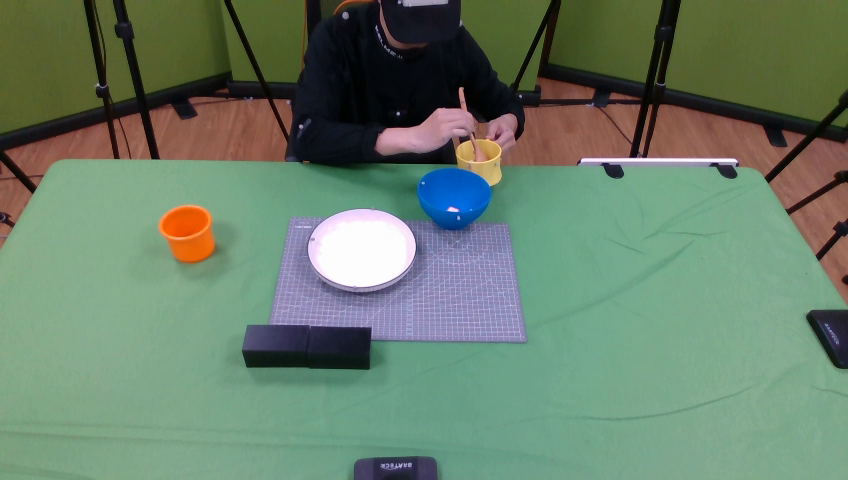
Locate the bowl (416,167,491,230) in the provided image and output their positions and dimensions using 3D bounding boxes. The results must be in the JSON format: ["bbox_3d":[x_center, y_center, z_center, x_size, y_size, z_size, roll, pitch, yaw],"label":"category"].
[{"bbox_3d":[0.057,-0.074,1.231,0.151,0.077,0.150,2,42,-2],"label":"bowl"}]

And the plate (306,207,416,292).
[{"bbox_3d":[-0.119,0.021,1.153,0.209,0.038,0.208,2,46,-2],"label":"plate"}]

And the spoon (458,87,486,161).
[{"bbox_3d":[0.098,-0.226,1.276,0.021,0.194,0.041,-13,8,43],"label":"spoon"}]

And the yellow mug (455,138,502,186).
[{"bbox_3d":[0.123,-0.176,1.320,0.099,0.064,0.130,11,40,20],"label":"yellow mug"}]
